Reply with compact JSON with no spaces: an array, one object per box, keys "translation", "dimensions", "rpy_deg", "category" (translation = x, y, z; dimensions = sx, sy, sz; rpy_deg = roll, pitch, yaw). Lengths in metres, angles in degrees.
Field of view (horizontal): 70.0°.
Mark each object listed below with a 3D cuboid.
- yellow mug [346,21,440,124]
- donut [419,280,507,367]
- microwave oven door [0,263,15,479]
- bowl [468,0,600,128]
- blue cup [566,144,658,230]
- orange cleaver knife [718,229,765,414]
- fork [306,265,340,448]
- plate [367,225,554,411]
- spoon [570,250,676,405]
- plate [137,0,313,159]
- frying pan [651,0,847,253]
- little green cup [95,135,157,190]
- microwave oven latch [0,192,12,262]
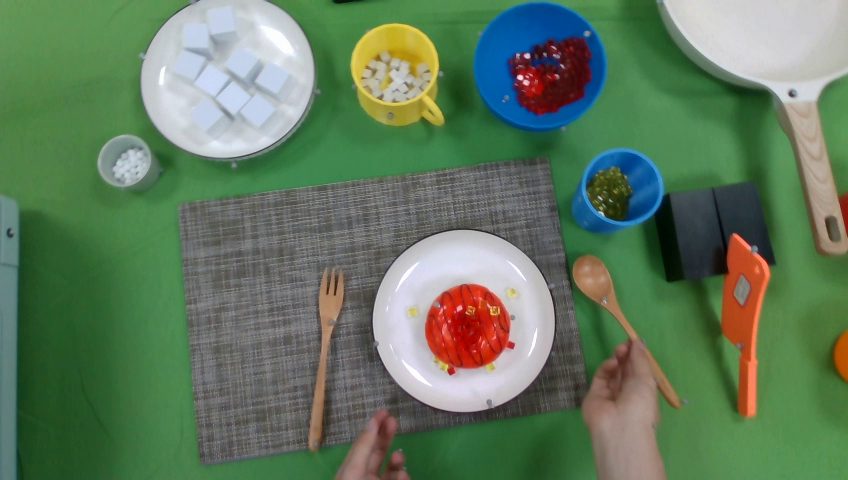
[{"translation":[-0.028,-0.187,0.719],"dimensions":[0.130,0.064,0.100],"rpy_deg":[44,84,5],"category":"yellow mug"},{"translation":[0.044,0.094,0.679],"dimensions":[0.099,0.048,0.099],"rpy_deg":[0,85,0],"category":"donut"},{"translation":[-0.469,0.186,0.555],"dimensions":[0.039,0.244,0.354],"rpy_deg":[-5,82,-1],"category":"microwave oven door"},{"translation":[0.124,-0.196,0.716],"dimensions":[0.151,0.077,0.151],"rpy_deg":[0,82,0],"category":"bowl"},{"translation":[0.203,-0.051,0.685],"dimensions":[0.093,0.100,0.092],"rpy_deg":[0,80,-1],"category":"blue cup"},{"translation":[0.350,0.093,0.676],"dimensions":[0.012,0.076,0.212],"rpy_deg":[-9,111,-2],"category":"orange cleaver knife"},{"translation":[-0.118,0.132,0.693],"dimensions":[0.028,0.018,0.206],"rpy_deg":[6,80,-10],"category":"fork"},{"translation":[0.041,0.088,0.691],"dimensions":[0.209,0.038,0.208],"rpy_deg":[0,83,-1],"category":"plate"},{"translation":[0.223,0.096,0.679],"dimensions":[0.041,0.022,0.192],"rpy_deg":[-28,67,3],"category":"spoon"},{"translation":[-0.235,-0.196,0.733],"dimensions":[0.208,0.039,0.207],"rpy_deg":[0,82,0],"category":"plate"},{"translation":[0.414,-0.221,0.710],"dimensions":[0.307,0.103,0.485],"rpy_deg":[-3,74,0],"category":"frying pan"},{"translation":[-0.348,-0.088,0.714],"dimensions":[0.061,0.039,0.061],"rpy_deg":[0,82,-2],"category":"little green cup"},{"translation":[-0.487,-0.015,0.685],"dimensions":[0.030,0.029,0.079],"rpy_deg":[-3,83,-1],"category":"microwave oven latch"}]
